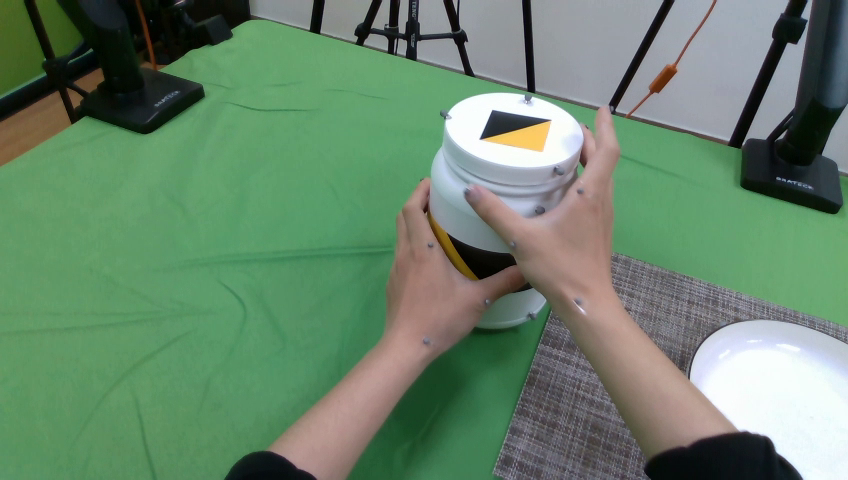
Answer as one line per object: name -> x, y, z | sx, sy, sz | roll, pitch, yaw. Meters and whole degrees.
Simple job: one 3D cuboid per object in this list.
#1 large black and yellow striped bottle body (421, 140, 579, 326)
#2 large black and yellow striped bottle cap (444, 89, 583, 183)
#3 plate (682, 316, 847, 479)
large black and yellow striped bottle body -> 0.067, -0.024, 0.559 | 0.131, 0.185, 0.129 | 3, 43, -2
large black and yellow striped bottle cap -> 0.074, -0.089, 0.501 | 0.115, 0.019, 0.114 | 3, 44, -2
plate -> 0.314, 0.154, 0.498 | 0.208, 0.039, 0.205 | 3, 43, -3
